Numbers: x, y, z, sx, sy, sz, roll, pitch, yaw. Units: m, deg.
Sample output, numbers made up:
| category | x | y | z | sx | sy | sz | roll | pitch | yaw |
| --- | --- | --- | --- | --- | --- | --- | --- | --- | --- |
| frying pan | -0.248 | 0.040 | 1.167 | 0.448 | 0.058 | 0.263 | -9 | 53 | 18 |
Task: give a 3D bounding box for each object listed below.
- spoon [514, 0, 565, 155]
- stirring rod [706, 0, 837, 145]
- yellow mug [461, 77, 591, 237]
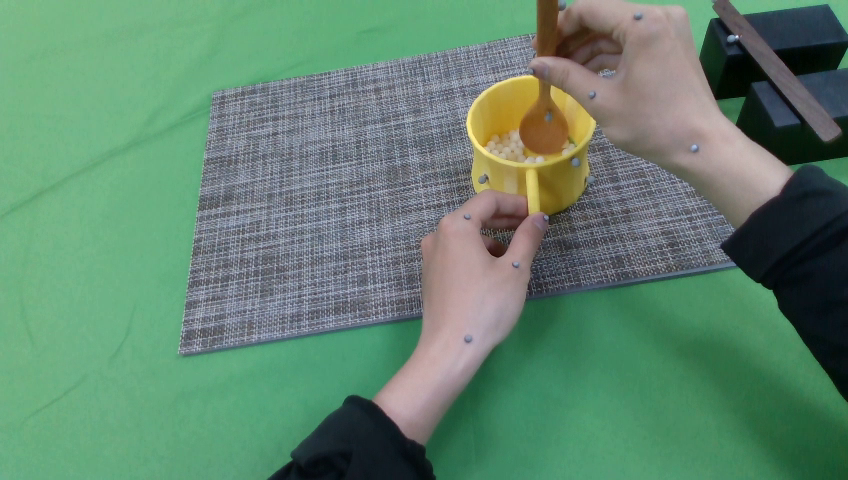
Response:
| category | x | y | z | sx | sy | sz | roll | pitch | yaw |
| --- | --- | --- | --- | --- | --- | --- | --- | --- | --- |
| spoon | 0.084 | -0.113 | 0.433 | 0.041 | 0.195 | 0.021 | 7 | 73 | 12 |
| stirring rod | 0.274 | -0.140 | 0.486 | 0.014 | 0.006 | 0.174 | -36 | 50 | 28 |
| yellow mug | 0.082 | -0.062 | 0.486 | 0.100 | 0.064 | 0.129 | -3 | 56 | 8 |
